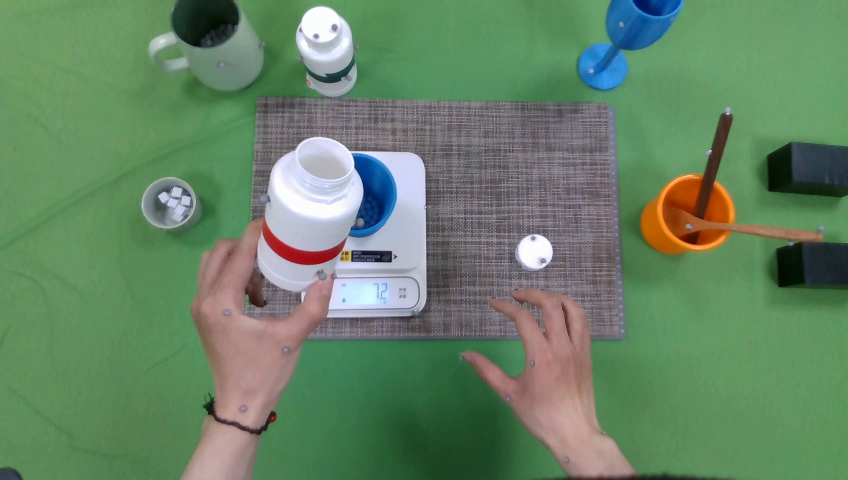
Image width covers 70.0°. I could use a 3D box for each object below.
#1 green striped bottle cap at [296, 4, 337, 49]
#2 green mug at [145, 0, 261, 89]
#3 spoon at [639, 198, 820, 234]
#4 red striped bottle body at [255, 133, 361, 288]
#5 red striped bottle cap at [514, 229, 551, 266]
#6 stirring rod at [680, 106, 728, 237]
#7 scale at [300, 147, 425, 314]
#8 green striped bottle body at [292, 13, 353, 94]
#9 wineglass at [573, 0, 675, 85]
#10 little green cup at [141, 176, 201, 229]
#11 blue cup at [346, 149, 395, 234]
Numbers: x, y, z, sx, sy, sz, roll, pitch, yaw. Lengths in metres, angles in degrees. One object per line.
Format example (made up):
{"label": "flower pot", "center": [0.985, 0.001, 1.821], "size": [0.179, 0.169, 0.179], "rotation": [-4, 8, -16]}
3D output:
{"label": "green striped bottle cap", "center": [-0.118, -0.236, 0.669], "size": [0.044, 0.020, 0.044], "rotation": [1, 80, -3]}
{"label": "green mug", "center": [-0.265, -0.233, 0.721], "size": [0.125, 0.105, 0.092], "rotation": [-22, 82, -6]}
{"label": "spoon", "center": [0.343, -0.022, 0.697], "size": [0.022, 0.192, 0.041], "rotation": [17, 86, -44]}
{"label": "red striped bottle body", "center": [-0.082, -0.021, 0.428], "size": [0.063, 0.120, 0.062], "rotation": [11, 53, -14]}
{"label": "red striped bottle cap", "center": [0.133, 0.009, 0.744], "size": [0.044, 0.018, 0.044], "rotation": [0, 81, -2]}
{"label": "stirring rod", "center": [0.324, -0.074, 0.705], "size": [0.014, 0.178, 0.006], "rotation": [6, 39, 11]}
{"label": "scale", "center": [-0.074, -0.013, 0.728], "size": [0.149, 0.031, 0.200], "rotation": [-1, 81, -3]}
{"label": "green striped bottle body", "center": [-0.120, -0.226, 0.720], "size": [0.063, 0.119, 0.063], "rotation": [1, 80, -2]}
{"label": "wineglass", "center": [0.232, -0.250, 0.716], "size": [0.074, 0.172, 0.073], "rotation": [0, 80, -2]}
{"label": "little green cup", "center": [-0.297, -0.042, 0.720], "size": [0.061, 0.039, 0.061], "rotation": [1, 80, -4]}
{"label": "blue cup", "center": [-0.076, -0.045, 0.667], "size": [0.093, 0.100, 0.092], "rotation": [1, 82, -5]}
